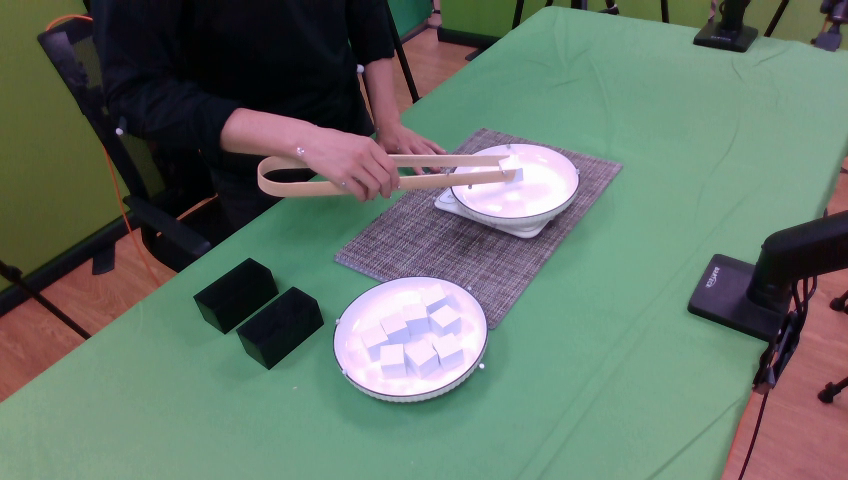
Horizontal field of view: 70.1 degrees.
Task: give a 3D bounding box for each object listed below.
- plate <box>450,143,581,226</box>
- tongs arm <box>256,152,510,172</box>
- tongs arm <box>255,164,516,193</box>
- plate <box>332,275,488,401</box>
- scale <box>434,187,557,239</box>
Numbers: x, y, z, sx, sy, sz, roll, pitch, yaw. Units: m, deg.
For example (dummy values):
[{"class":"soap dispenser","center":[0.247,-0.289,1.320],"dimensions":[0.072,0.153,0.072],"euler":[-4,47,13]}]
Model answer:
[{"class":"plate","center":[0.148,-0.087,0.986],"dimensions":[0.209,0.038,0.208],"euler":[-4,41,4]},{"class":"tongs arm","center":[-0.050,-0.114,0.899],"dimensions":[0.390,0.028,0.028],"euler":[-3,56,-18]},{"class":"tongs arm","center":[-0.045,-0.097,0.886],"dimensions":[0.387,0.026,0.050],"euler":[-7,54,-21]},{"class":"plate","center":[-0.017,0.131,0.808],"dimensions":[0.207,0.039,0.206],"euler":[-4,41,4]},{"class":"scale","center":[0.132,-0.075,1.025],"dimensions":[0.199,0.032,0.149],"euler":[22,48,30]}]
